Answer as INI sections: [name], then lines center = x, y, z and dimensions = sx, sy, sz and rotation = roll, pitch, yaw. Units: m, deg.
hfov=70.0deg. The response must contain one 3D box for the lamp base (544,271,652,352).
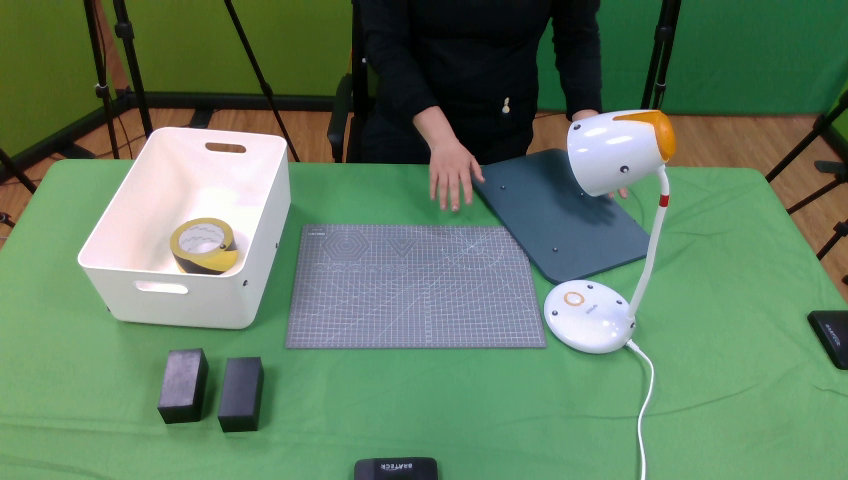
[lamp base]
center = 0.309, 0.086, 1.029
dimensions = 0.178, 0.181, 0.160
rotation = 32, 52, 21

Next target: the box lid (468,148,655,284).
[box lid]
center = 0.285, -0.064, 1.289
dimensions = 0.263, 0.015, 0.369
rotation = -16, 49, -19

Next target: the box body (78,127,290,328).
[box body]
center = -0.400, -0.026, 1.095
dimensions = 0.254, 0.161, 0.362
rotation = 4, 46, 0

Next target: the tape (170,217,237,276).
[tape]
center = -0.408, 0.014, 1.123
dimensions = 0.117, 0.053, 0.116
rotation = 2, 46, -2

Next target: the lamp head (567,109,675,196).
[lamp head]
center = 0.272, -0.123, 0.818
dimensions = 0.122, 0.113, 0.112
rotation = -9, 35, 37
